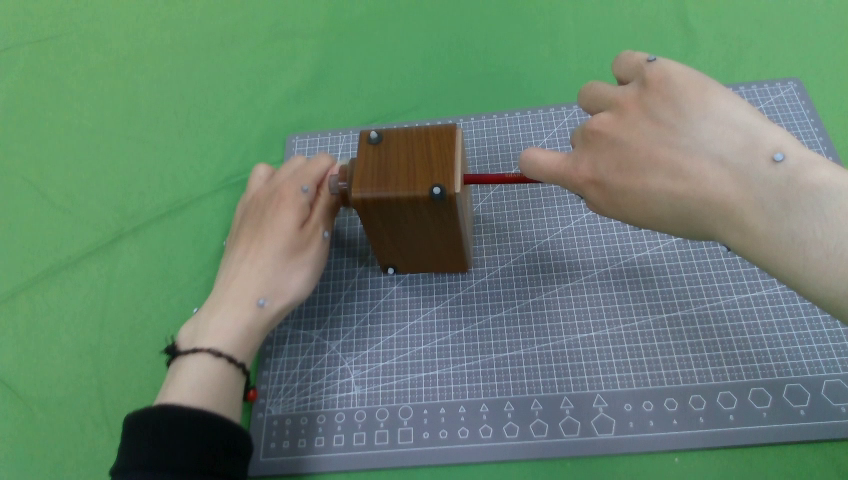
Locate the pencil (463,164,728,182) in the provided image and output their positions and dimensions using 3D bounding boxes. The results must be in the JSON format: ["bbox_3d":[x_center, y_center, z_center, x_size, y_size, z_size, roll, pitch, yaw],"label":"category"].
[{"bbox_3d":[0.099,-0.043,0.398,0.194,0.012,0.012,0,59,4],"label":"pencil"}]

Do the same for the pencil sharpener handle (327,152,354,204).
[{"bbox_3d":[-0.059,-0.041,0.430,0.030,0.068,0.036,-2,90,8],"label":"pencil sharpener handle"}]

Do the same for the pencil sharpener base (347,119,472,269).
[{"bbox_3d":[-0.007,-0.028,0.432,0.076,0.108,0.061,-2,59,8],"label":"pencil sharpener base"}]
